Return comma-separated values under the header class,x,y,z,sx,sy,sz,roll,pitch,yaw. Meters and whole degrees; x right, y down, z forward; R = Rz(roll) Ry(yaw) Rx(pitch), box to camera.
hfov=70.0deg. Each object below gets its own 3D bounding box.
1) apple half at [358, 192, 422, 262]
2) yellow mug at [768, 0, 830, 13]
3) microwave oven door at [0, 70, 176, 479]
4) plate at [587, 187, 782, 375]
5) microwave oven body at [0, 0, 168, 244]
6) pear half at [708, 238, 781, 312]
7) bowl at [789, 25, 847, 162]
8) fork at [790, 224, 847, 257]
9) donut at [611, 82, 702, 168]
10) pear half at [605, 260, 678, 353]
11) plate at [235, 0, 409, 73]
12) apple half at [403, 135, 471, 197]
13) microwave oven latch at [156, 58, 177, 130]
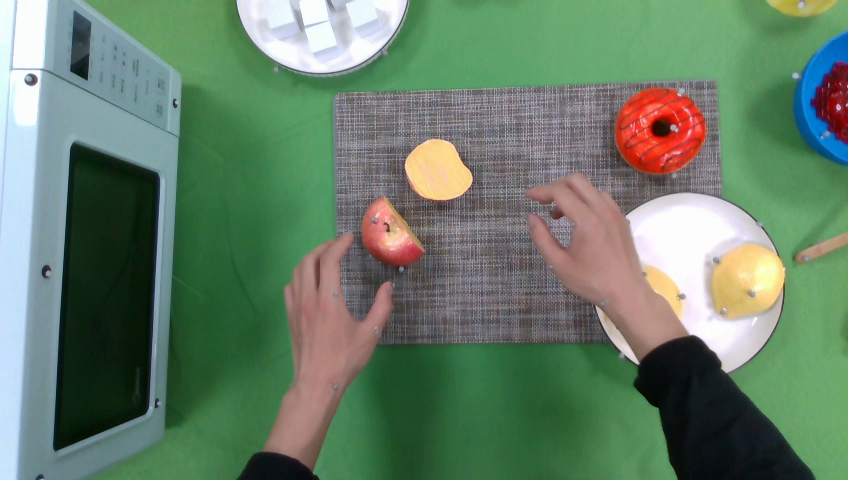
class,x,y,z,sx,sy,sz,roll,pitch,yaw
apple half,-0.045,-0.008,0.684,0.053,0.074,0.081,-37,90,5
yellow mug,0.427,-0.330,0.679,0.100,0.064,0.130,-34,85,2
microwave oven door,-0.322,0.044,0.597,0.039,0.244,0.355,1,87,3
plate,0.287,0.045,0.681,0.209,0.038,0.209,0,88,3
microwave oven body,-0.465,-0.002,0.613,0.326,0.260,0.441,1,88,3
pear half,0.347,0.041,0.663,0.070,0.031,0.088,36,102,27
bowl,0.466,-0.152,0.663,0.151,0.077,0.151,0,88,3
fork,0.501,-0.033,0.652,0.207,0.018,0.028,-32,94,22
donut,0.262,-0.129,0.686,0.099,0.048,0.099,0,87,6
pear half,0.249,0.078,0.668,0.076,0.056,0.110,-29,93,6
plate,-0.118,-0.297,0.721,0.207,0.039,0.207,0,87,3
apple half,0.010,-0.079,0.700,0.081,0.033,0.080,5,69,-13
microwave oven latch,-0.307,-0.170,0.707,0.030,0.029,0.079,3,88,3
